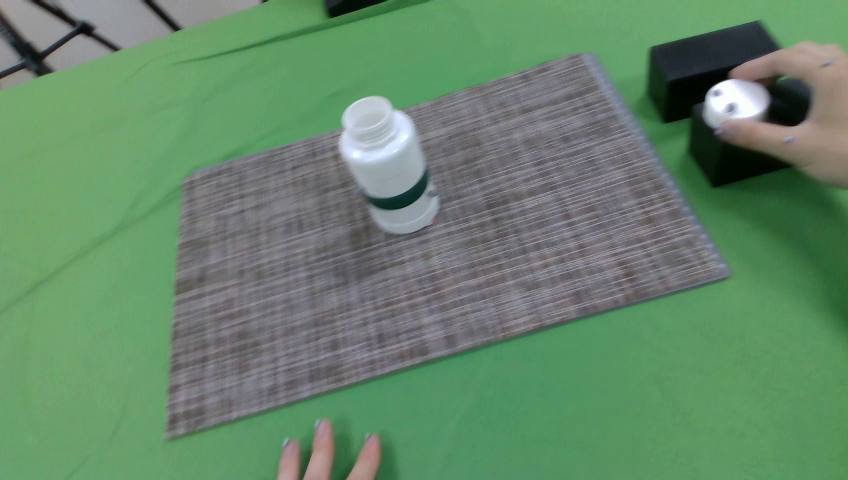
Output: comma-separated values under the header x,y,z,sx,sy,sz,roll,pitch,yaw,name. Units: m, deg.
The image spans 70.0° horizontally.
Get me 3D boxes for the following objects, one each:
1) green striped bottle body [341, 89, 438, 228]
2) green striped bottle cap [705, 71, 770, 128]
x,y,z,sx,sy,sz,roll,pitch,yaw,name
-0.030,-0.069,0.514,0.063,0.120,0.062,-8,53,11,green striped bottle body
0.242,-0.109,0.467,0.044,0.020,0.044,-7,56,11,green striped bottle cap
